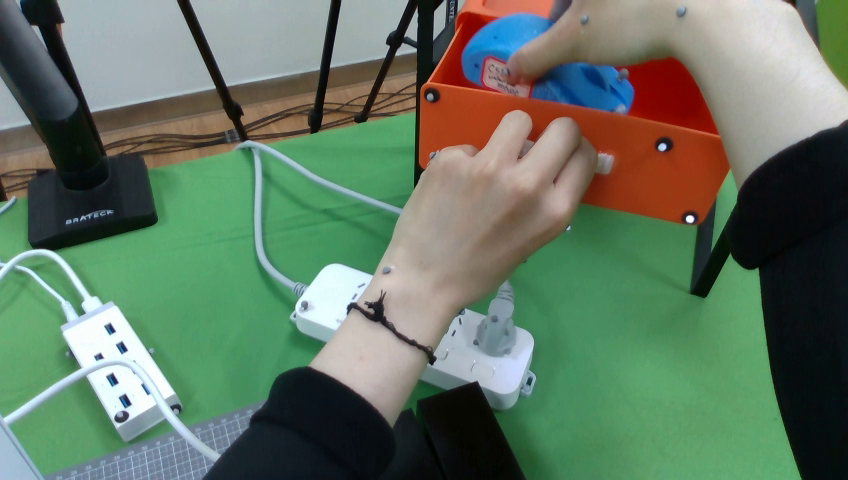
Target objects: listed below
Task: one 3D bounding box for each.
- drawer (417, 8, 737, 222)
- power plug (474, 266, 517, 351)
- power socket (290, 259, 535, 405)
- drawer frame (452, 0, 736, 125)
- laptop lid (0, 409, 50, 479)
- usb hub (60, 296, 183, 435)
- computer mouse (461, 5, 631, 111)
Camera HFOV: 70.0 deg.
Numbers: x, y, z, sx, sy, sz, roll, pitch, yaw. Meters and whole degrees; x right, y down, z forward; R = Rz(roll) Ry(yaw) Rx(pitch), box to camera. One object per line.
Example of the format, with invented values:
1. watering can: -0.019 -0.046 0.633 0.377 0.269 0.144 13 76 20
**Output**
1. drawer: 0.116 -0.123 0.456 0.194 0.074 0.210 13 46 9
2. power plug: 0.071 0.066 0.521 0.035 0.053 0.072 27 52 23
3. power socket: -0.011 0.077 0.536 0.226 0.033 0.072 18 47 15
4. drawer frame: 0.142 -0.194 0.523 0.201 0.083 0.212 11 46 8
5. laptop lid: -0.406 0.146 0.293 0.357 0.244 0.013 -20 37 -19
6. usb hub: -0.255 0.101 0.505 0.049 0.025 0.124 -32 55 -29
7. computer mouse: 0.085 -0.119 0.408 0.116 0.041 0.062 36 52 12
